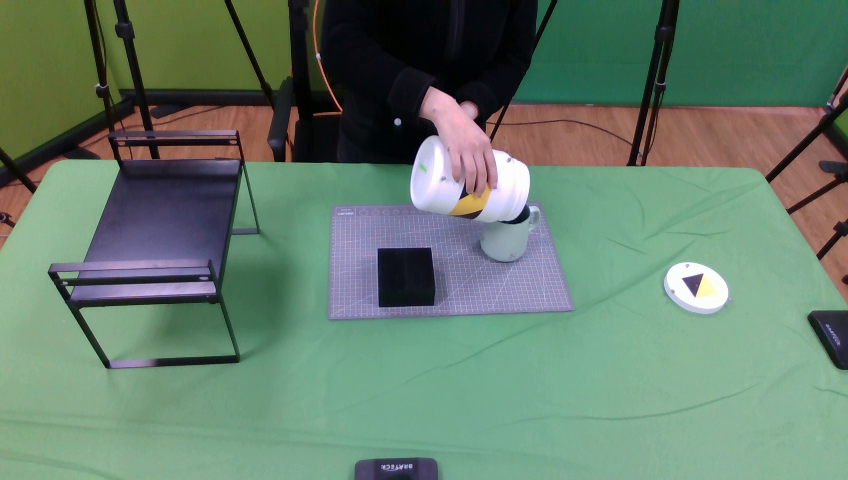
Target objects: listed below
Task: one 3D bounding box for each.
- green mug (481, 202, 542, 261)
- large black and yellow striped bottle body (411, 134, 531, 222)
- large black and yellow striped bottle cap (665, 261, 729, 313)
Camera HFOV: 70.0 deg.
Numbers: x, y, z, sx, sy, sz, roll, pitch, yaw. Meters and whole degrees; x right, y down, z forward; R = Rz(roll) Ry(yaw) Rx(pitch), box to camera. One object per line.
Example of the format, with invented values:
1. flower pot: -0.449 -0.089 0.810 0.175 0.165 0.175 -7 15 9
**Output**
1. green mug: 0.174 -0.027 1.173 0.125 0.105 0.092 -22 51 -23
2. large black and yellow striped bottle body: 0.082 -0.104 1.065 0.184 0.131 0.130 10 44 -19
3. large black and yellow striped bottle cap: 0.518 0.087 1.152 0.115 0.019 0.114 2 47 -2
